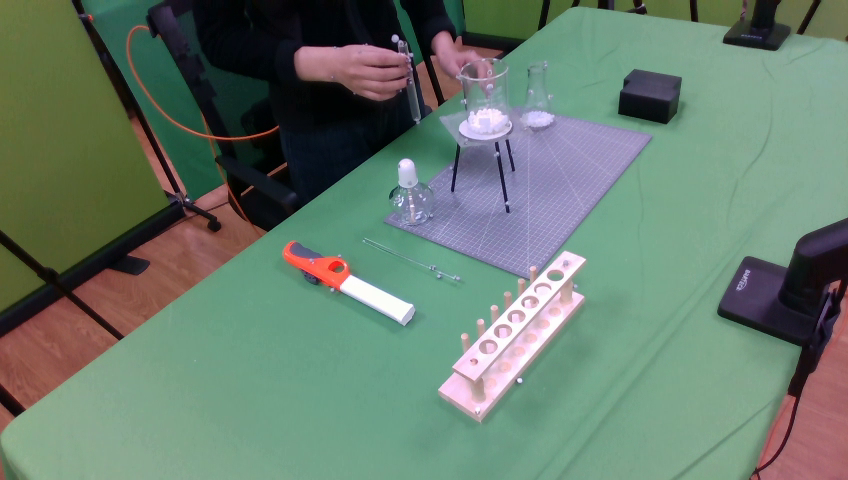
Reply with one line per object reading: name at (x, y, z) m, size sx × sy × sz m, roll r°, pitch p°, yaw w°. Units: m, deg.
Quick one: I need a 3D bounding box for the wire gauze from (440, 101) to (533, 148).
wire gauze at (0.100, -0.189, 0.995) m, size 0.125 × 0.011 × 0.120 m, roll -16°, pitch 37°, yaw -6°

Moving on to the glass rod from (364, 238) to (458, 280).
glass rod at (-0.026, 0.029, 0.966) m, size 0.198 × 0.008 × 0.008 m, roll 21°, pitch 49°, yaw 35°

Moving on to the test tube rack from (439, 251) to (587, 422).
test tube rack at (0.118, 0.111, 0.780) m, size 0.066 × 0.085 × 0.243 m, roll 26°, pitch 51°, yaw 35°

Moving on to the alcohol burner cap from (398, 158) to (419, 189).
alcohol burner cap at (-0.027, -0.111, 0.989) m, size 0.034 × 0.048 × 0.033 m, roll -3°, pitch 46°, yaw 4°

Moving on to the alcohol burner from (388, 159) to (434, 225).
alcohol burner at (-0.023, -0.084, 1.013) m, size 0.078 × 0.119 × 0.077 m, roll -4°, pitch 38°, yaw 4°

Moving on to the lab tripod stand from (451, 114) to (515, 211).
lab tripod stand at (0.113, -0.140, 1.037) m, size 0.148 × 0.132 × 0.147 m, roll -6°, pitch 38°, yaw 5°

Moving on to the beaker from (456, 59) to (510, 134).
beaker at (0.098, -0.226, 0.964) m, size 0.084 × 0.101 × 0.073 m, roll -7°, pitch 39°, yaw 4°

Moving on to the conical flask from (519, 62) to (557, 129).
conical flask at (0.225, -0.288, 1.198) m, size 0.075 × 0.122 × 0.075 m, roll -6°, pitch 40°, yaw 5°

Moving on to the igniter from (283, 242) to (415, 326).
igniter at (-0.126, 0.062, 0.931) m, size 0.274 × 0.025 × 0.057 m, roll 24°, pitch 61°, yaw 33°

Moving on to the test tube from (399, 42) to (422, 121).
test tube at (-0.022, -0.261, 1.011) m, size 0.017 × 0.151 × 0.017 m, roll -5°, pitch 48°, yaw 7°
